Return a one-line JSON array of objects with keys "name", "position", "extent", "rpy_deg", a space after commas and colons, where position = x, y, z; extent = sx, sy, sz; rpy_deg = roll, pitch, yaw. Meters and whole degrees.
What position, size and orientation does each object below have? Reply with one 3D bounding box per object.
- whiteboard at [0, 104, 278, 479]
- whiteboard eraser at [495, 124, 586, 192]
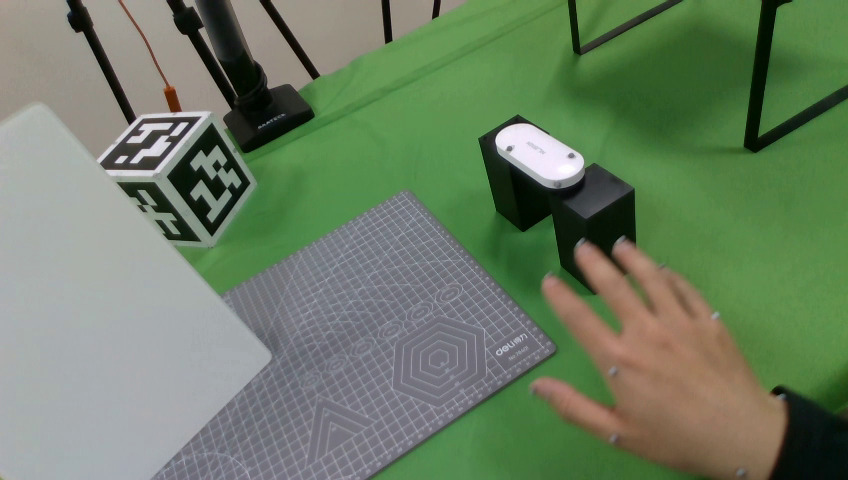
[{"name": "whiteboard", "position": [-0.327, 0.072, 0.544], "extent": [0.217, 0.308, 0.143], "rpy_deg": [-46, 29, -23]}, {"name": "whiteboard eraser", "position": [0.102, -0.076, 0.544], "extent": [0.041, 0.019, 0.100], "rpy_deg": [-32, 45, -13]}]
